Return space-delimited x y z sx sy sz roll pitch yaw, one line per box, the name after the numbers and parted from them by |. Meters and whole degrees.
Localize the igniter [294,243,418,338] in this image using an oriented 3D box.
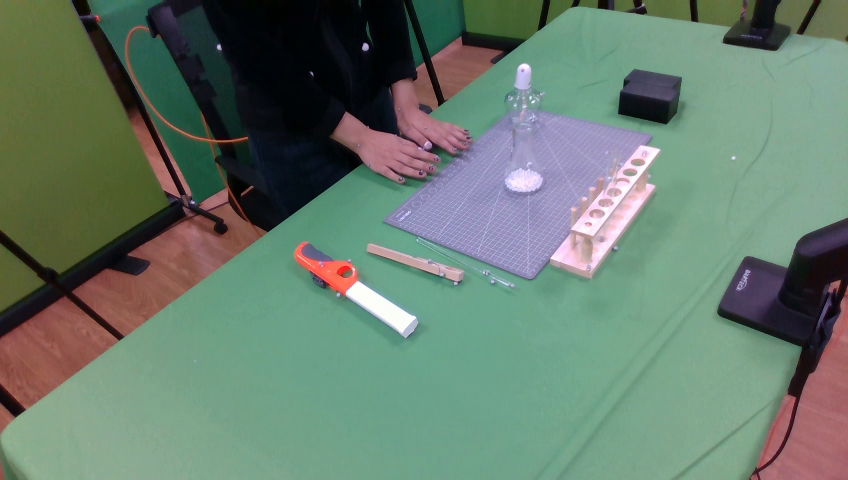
-0.114 0.070 0.919 0.274 0.025 0.057 29 63 37 | igniter

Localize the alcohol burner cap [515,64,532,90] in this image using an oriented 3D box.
0.199 -0.324 1.198 0.034 0.048 0.033 0 45 1 | alcohol burner cap

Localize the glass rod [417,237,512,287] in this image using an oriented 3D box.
0.059 0.032 0.945 0.198 0.008 0.008 27 52 38 | glass rod

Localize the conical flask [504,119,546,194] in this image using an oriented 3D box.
0.173 -0.146 1.041 0.075 0.122 0.075 -6 40 5 | conical flask

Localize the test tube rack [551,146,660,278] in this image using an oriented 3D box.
0.286 -0.053 0.943 0.066 0.085 0.243 21 49 32 | test tube rack

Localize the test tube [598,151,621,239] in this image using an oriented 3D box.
0.269 -0.062 0.880 0.017 0.151 0.017 -3 39 3 | test tube

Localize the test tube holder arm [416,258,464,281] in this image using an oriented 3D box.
0.022 0.045 0.931 0.087 0.015 0.010 16 10 27 | test tube holder arm

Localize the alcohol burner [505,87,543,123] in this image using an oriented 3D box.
0.202 -0.298 1.222 0.078 0.119 0.077 -4 40 4 | alcohol burner

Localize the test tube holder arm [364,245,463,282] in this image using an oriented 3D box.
-0.020 0.035 0.947 0.177 0.015 0.013 16 10 26 | test tube holder arm
